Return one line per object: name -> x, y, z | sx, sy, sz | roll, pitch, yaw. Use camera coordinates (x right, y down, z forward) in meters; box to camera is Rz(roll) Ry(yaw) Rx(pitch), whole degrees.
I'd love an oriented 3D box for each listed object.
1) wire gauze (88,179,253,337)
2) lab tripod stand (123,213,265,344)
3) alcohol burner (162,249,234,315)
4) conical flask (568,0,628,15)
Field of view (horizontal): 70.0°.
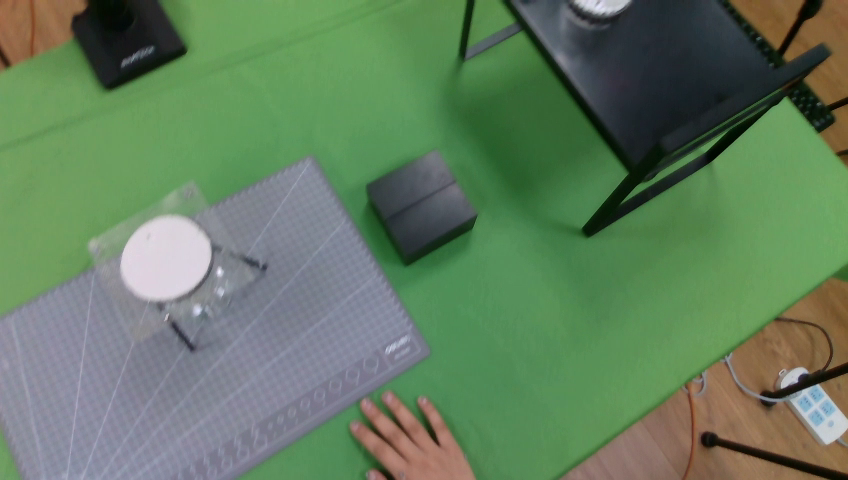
wire gauze -> -0.253, 0.015, 0.598 | 0.125, 0.011, 0.121 | -31, 77, -11
lab tripod stand -> -0.261, 0.033, 0.664 | 0.148, 0.132, 0.147 | 0, 74, -1
alcohol burner -> -0.256, 0.043, 0.671 | 0.078, 0.119, 0.077 | 0, 74, -1
conical flask -> 0.189, -0.291, 0.608 | 0.075, 0.122, 0.075 | 1, 73, -3
